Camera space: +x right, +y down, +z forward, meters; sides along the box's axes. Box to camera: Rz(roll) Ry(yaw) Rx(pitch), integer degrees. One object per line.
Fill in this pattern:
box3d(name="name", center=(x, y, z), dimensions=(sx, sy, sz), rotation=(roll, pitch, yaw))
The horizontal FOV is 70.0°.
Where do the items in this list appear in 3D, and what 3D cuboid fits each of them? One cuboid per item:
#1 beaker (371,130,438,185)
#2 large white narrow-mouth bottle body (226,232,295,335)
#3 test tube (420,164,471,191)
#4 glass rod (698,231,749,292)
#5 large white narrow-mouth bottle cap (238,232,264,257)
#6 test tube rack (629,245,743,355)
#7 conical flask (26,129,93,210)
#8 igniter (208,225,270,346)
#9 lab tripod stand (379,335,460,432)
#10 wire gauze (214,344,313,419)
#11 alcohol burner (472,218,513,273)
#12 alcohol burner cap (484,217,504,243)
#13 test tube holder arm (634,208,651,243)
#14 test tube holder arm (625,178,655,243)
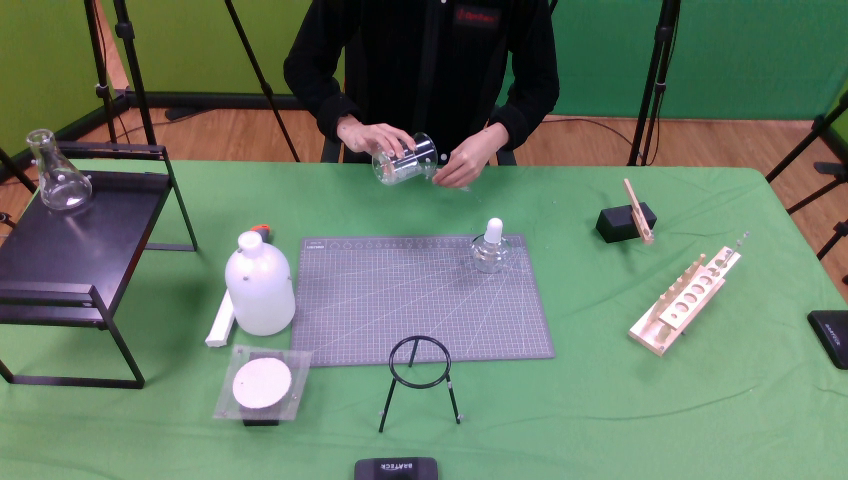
box3d(name="beaker", center=(-0.037, -0.143, 1.087), dimensions=(0.100, 0.084, 0.073), rotation=(-26, 53, -30))
box3d(name="large white narrow-mouth bottle body", center=(-0.270, 0.065, 0.995), dimensions=(0.102, 0.195, 0.101), rotation=(2, 46, -2))
box3d(name="test tube", center=(0.046, -0.120, 1.189), dimensions=(0.151, 0.017, 0.017), rotation=(17, 28, -48))
box3d(name="glass rod", center=(0.515, 0.044, 1.051), dimensions=(0.008, 0.200, 0.008), rotation=(1, 55, -1))
box3d(name="large white narrow-mouth bottle cap", center=(-0.266, 0.007, 0.933), dimensions=(0.038, 0.024, 0.037), rotation=(2, 46, -2))
box3d(name="test tube rack", center=(0.474, 0.095, 1.091), dimensions=(0.242, 0.085, 0.066), rotation=(-34, 56, -31))
box3d(name="conical flask", center=(-0.575, -0.113, 0.946), dimensions=(0.075, 0.122, 0.075), rotation=(2, 46, -2))
box3d(name="igniter", center=(-0.331, 0.072, 1.099), dimensions=(0.057, 0.025, 0.275), rotation=(-4, 45, 10))
box3d(name="lab tripod stand", center=(-0.010, 0.214, 0.911), dimensions=(0.148, 0.132, 0.147), rotation=(1, 45, 0))
box3d(name="wire gauze", center=(-0.241, 0.213, 0.915), dimensions=(0.121, 0.011, 0.124), rotation=(5, 46, 1))
box3d(name="alcohol burner", center=(0.128, 0.005, 1.132), dimensions=(0.078, 0.120, 0.077), rotation=(0, 47, 0))
box3d(name="alcohol burner cap", center=(0.129, -0.021, 1.107), dimensions=(0.034, 0.048, 0.033), rotation=(4, 41, -3))
box3d(name="test tube holder arm", center=(0.428, -0.030, 1.189), dimensions=(0.010, 0.015, 0.087), rotation=(1, 47, -2))
box3d(name="test tube holder arm", center=(0.433, -0.062, 1.220), dimensions=(0.013, 0.015, 0.177), rotation=(1, 47, -3))
